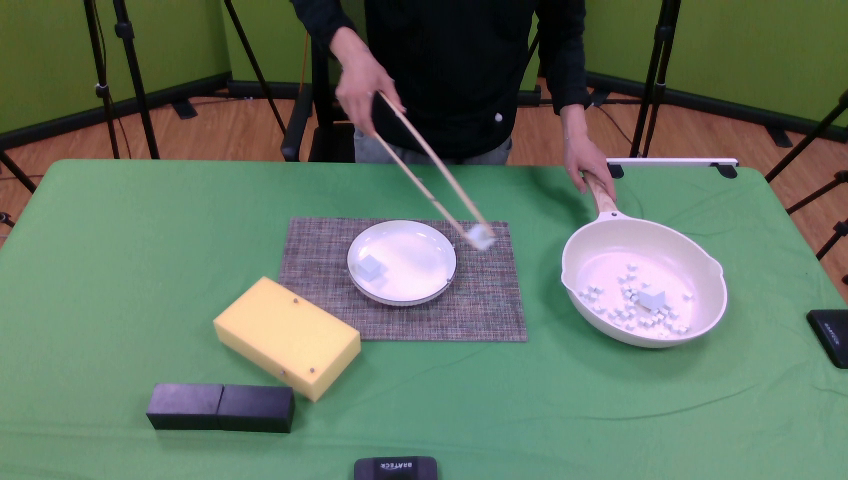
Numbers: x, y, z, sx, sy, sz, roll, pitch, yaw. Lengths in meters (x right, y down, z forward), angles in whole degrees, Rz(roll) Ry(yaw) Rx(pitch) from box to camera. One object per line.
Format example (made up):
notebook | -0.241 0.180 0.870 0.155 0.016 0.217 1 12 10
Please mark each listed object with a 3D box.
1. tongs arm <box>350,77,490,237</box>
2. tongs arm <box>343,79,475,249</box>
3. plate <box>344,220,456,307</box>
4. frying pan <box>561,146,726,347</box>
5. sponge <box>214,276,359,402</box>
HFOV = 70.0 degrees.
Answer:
tongs arm | -0.007 -0.153 1.066 0.028 0.028 0.386 -41 76 13
tongs arm | -0.025 -0.138 1.070 0.051 0.026 0.383 -45 76 8
plate | -0.044 0.047 1.133 0.208 0.039 0.206 3 46 -2
frying pan | 0.378 -0.005 1.175 0.307 0.103 0.484 -4 55 -9
sponge | -0.225 0.158 0.998 0.206 0.061 0.118 27 52 18
